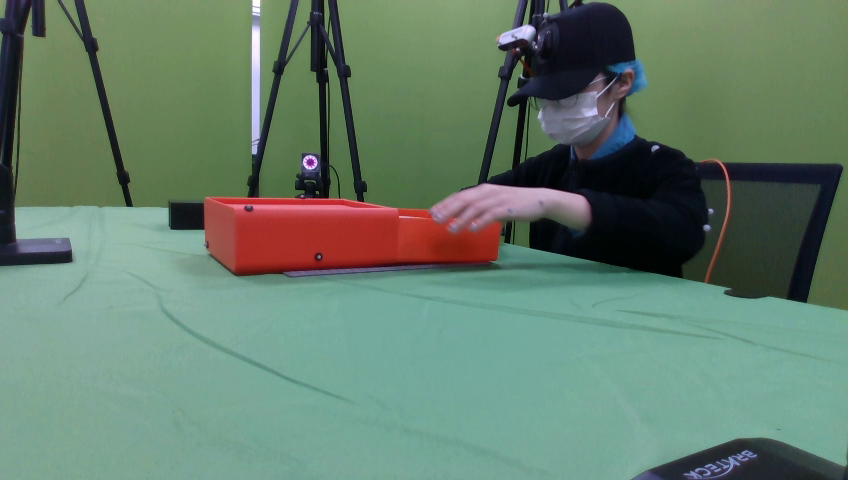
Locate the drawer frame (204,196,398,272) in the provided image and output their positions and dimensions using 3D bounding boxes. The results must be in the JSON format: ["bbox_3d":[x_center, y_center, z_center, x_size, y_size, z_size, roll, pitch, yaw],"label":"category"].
[{"bbox_3d":[-0.172,-0.016,0.828,0.215,0.082,0.200,-3,9,-30],"label":"drawer frame"}]

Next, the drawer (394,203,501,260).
[{"bbox_3d":[-0.025,-0.017,0.913,0.213,0.073,0.193,-1,9,-31],"label":"drawer"}]

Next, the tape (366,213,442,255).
[{"bbox_3d":[-0.029,-0.010,0.909,0.117,0.052,0.117,5,6,0],"label":"tape"}]
